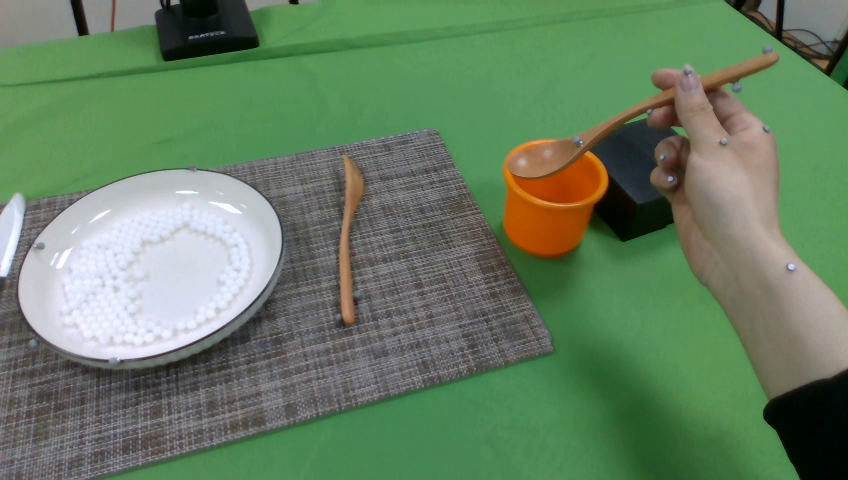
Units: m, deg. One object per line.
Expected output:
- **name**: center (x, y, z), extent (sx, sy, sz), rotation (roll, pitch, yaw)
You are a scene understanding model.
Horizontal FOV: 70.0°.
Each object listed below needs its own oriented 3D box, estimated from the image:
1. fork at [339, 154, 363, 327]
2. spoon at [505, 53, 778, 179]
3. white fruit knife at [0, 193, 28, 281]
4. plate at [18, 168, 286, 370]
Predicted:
- **fork**: center (-0.069, -0.008, 0.556), extent (0.018, 0.028, 0.205), rotation (-21, 47, 21)
- **spoon**: center (0.149, -0.087, 0.433), extent (0.193, 0.022, 0.041), rotation (-24, 36, 25)
- **white fruit knife**: center (-0.369, 0.030, 0.515), extent (0.027, 0.016, 0.205), rotation (14, 40, -28)
- **plate**: center (-0.220, 0.021, 0.512), extent (0.209, 0.038, 0.207), rotation (1, 48, -1)
